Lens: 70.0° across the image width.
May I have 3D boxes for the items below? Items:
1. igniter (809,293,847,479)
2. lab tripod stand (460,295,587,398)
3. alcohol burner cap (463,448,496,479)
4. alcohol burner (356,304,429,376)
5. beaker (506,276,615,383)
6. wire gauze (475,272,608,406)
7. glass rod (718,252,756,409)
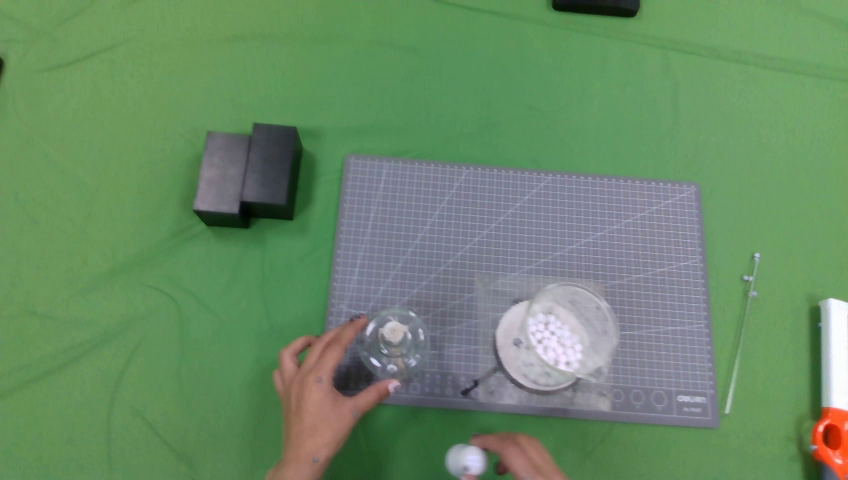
[{"bbox_3d":[0.458,0.194,0.678,0.057,0.025,0.275,15,72,-9],"label":"igniter"},{"bbox_3d":[0.105,0.113,0.628,0.148,0.132,0.147,0,71,-1],"label":"lab tripod stand"},{"bbox_3d":[0.054,0.219,0.587,0.034,0.048,0.033,0,72,2],"label":"alcohol burner cap"},{"bbox_3d":[-0.033,0.101,0.636,0.078,0.120,0.077,1,69,-3],"label":"alcohol burner"},{"bbox_3d":[0.113,0.084,0.518,0.074,0.101,0.083,-26,74,-11],"label":"beaker"},{"bbox_3d":[0.109,0.090,0.567,0.125,0.011,0.120,3,70,1],"label":"wire gauze"},{"bbox_3d":[0.370,0.103,0.714,0.008,0.008,0.199,21,73,4],"label":"glass rod"}]
